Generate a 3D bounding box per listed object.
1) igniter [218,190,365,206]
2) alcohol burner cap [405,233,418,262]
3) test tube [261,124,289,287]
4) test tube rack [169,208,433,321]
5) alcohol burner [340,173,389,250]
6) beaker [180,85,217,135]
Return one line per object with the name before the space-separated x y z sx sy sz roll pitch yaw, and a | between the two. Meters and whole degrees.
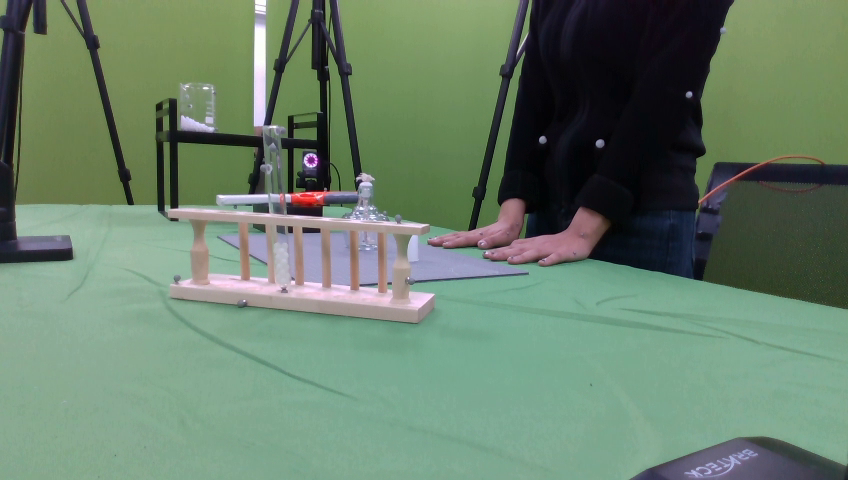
igniter | -0.247 -0.080 1.156 0.278 0.025 0.057 -4 12 -26
alcohol burner cap | -0.024 0.005 0.847 0.034 0.048 0.034 3 10 0
test tube | -0.136 -0.030 0.554 0.017 0.150 0.017 -2 10 1
test tube rack | -0.115 0.018 0.574 0.242 0.085 0.067 4 8 13
alcohol burner | -0.093 -0.045 0.939 0.078 0.119 0.078 0 7 0
beaker | -0.478 -0.275 1.279 0.074 0.100 0.084 4 8 15
